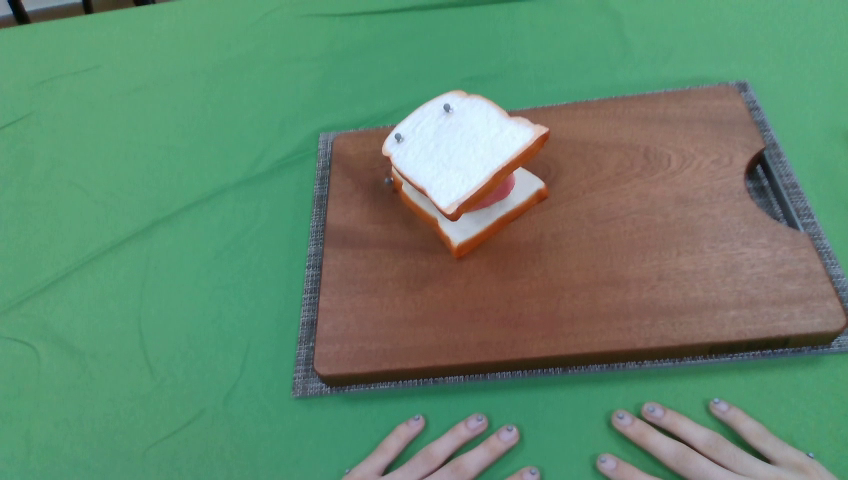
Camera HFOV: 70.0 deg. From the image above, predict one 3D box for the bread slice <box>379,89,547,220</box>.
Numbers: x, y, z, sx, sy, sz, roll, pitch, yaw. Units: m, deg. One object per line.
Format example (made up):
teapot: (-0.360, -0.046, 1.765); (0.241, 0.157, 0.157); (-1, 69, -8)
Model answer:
bread slice: (0.021, -0.079, 0.516); (0.107, 0.018, 0.133); (-42, 47, -10)

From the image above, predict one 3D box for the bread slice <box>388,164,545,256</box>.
bread slice: (0.028, -0.055, 0.551); (0.105, 0.019, 0.130); (-35, 57, -17)
